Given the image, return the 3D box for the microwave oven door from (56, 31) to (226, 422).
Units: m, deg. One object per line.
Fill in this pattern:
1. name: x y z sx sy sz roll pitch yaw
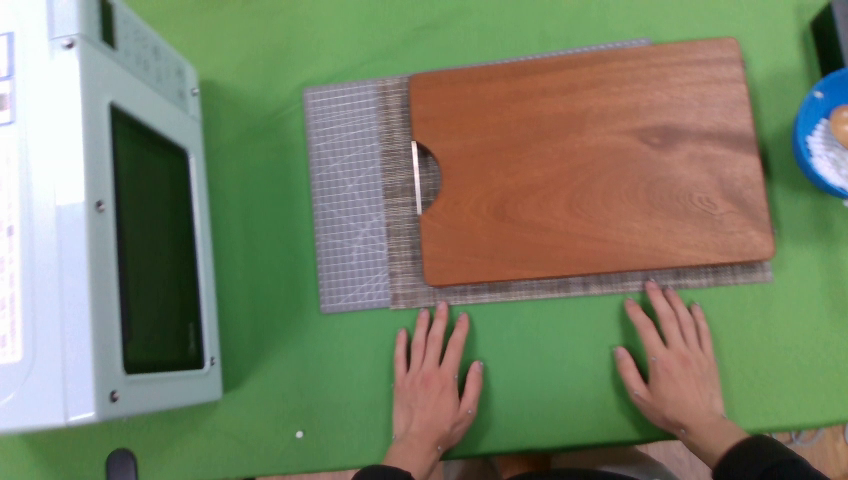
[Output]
1. microwave oven door: -0.294 -0.002 0.648 0.039 0.245 0.354 -9 81 6

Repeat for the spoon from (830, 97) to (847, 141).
1. spoon: 0.482 -0.074 0.639 0.041 0.022 0.192 -7 58 3

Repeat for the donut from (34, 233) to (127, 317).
1. donut: -0.393 0.040 0.695 0.099 0.048 0.099 -1 100 -6

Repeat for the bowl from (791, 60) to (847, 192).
1. bowl: 0.479 -0.117 0.677 0.151 0.077 0.151 -1 82 7

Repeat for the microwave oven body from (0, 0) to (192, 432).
1. microwave oven body: -0.443 -0.021 0.673 0.326 0.261 0.440 -8 81 5

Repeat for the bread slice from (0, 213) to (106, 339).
1. bread slice: -0.404 0.048 0.646 0.134 0.018 0.106 -26 83 16

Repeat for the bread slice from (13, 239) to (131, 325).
1. bread slice: -0.423 0.052 0.729 0.132 0.019 0.105 0 90 -6

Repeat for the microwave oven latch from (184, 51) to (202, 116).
1. microwave oven latch: -0.307 -0.200 0.782 0.030 0.029 0.079 -8 82 5
